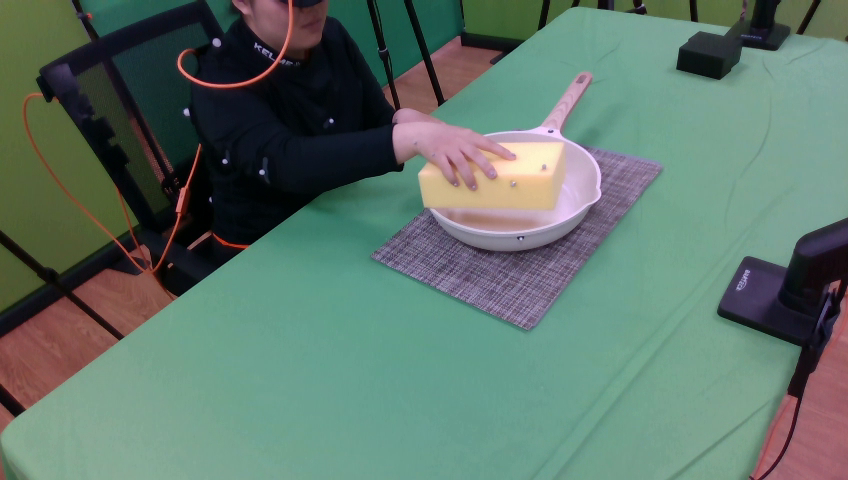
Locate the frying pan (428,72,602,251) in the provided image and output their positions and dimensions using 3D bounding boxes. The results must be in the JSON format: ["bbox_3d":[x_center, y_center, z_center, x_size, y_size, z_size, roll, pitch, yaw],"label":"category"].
[{"bbox_3d":[0.199,-0.155,1.062,0.304,0.103,0.488,19,56,28],"label":"frying pan"}]

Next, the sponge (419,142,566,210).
[{"bbox_3d":[0.111,-0.103,0.950,0.206,0.061,0.118,3,34,19],"label":"sponge"}]
